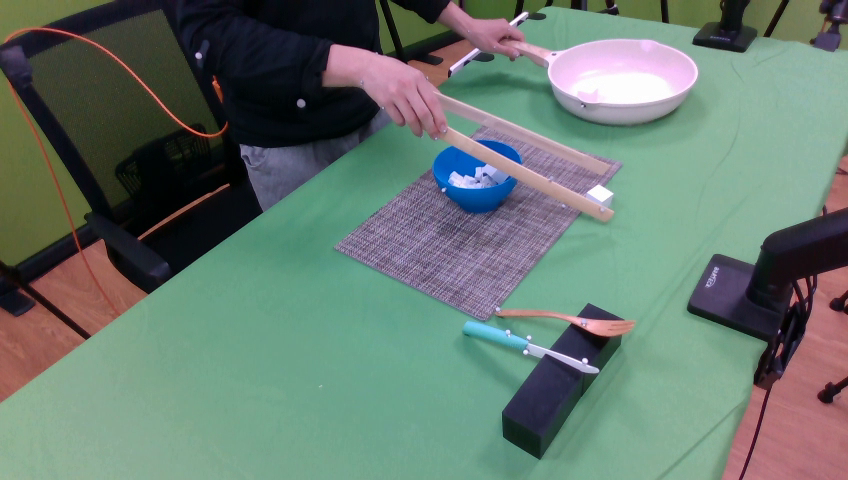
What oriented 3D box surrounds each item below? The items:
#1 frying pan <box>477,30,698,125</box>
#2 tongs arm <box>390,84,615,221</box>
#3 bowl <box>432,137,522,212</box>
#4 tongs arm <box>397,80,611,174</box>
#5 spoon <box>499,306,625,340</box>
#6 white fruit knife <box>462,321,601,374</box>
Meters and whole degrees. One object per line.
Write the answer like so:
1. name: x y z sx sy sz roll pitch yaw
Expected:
1. frying pan: 0.321 -0.371 1.290 0.484 0.103 0.308 29 51 24
2. tongs arm: 0.123 -0.130 0.924 0.386 0.026 0.050 24 48 -10
3. bowl: 0.091 -0.100 1.022 0.151 0.077 0.150 -4 41 4
4. tongs arm: 0.133 -0.176 0.968 0.390 0.027 0.028 18 53 -16
5. spoon: 0.169 0.102 0.773 0.042 0.021 0.192 -10 14 -38
6. white fruit knife: 0.126 0.132 0.752 0.205 0.027 0.016 12 48 42
